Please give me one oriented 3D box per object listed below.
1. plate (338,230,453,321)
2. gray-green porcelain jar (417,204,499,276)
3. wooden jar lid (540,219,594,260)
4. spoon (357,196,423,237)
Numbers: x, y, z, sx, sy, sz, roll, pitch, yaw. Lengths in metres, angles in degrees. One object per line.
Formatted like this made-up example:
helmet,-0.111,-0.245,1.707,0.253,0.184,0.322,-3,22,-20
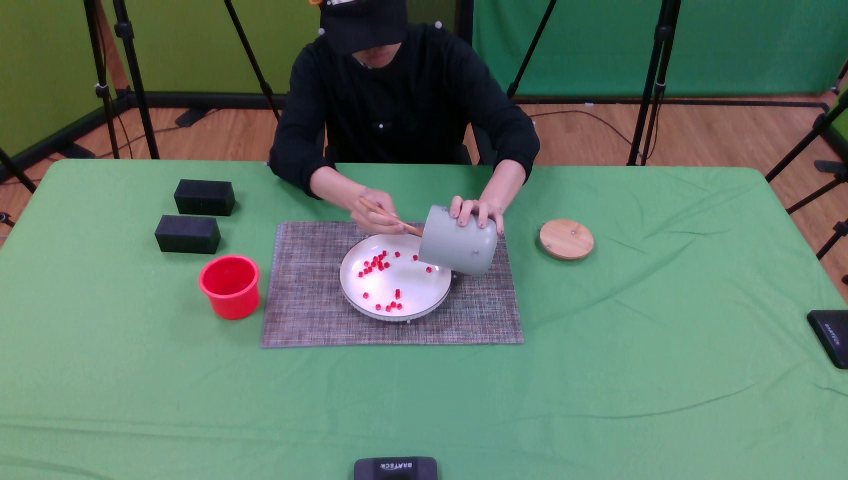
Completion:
plate,-0.052,0.068,1.111,0.208,0.039,0.206,2,46,-2
gray-green porcelain jar,0.062,0.002,1.063,0.126,0.106,0.105,14,47,5
wooden jar lid,0.286,0.001,1.218,0.108,0.021,0.107,1,46,-1
spoon,-0.031,-0.025,1.042,0.194,0.022,0.041,26,52,-11
